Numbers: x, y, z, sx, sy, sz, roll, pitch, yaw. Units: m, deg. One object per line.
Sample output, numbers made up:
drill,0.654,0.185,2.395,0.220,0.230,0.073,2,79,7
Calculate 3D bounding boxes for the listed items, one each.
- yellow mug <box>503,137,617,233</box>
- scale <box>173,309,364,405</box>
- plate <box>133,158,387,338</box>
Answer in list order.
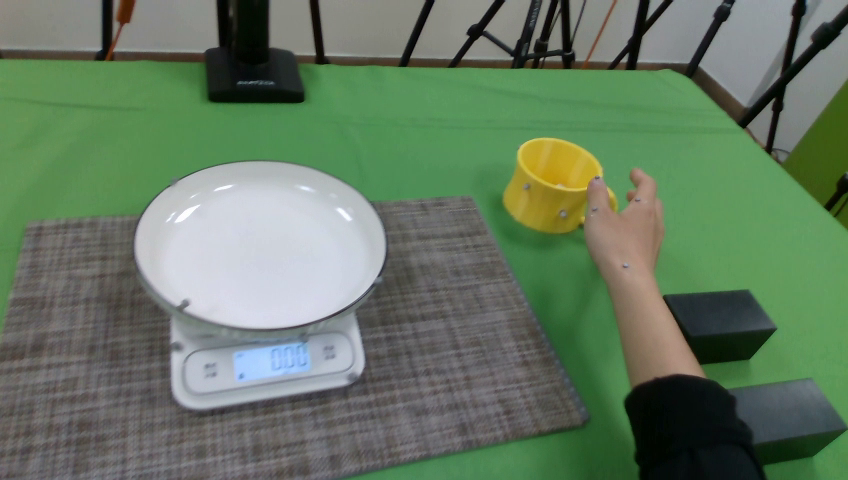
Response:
yellow mug,0.162,-0.058,0.703,0.130,0.064,0.099,28,45,14
scale,-0.142,0.045,0.535,0.149,0.032,0.198,-4,46,-18
plate,-0.138,0.005,0.530,0.209,0.038,0.207,8,43,-7
